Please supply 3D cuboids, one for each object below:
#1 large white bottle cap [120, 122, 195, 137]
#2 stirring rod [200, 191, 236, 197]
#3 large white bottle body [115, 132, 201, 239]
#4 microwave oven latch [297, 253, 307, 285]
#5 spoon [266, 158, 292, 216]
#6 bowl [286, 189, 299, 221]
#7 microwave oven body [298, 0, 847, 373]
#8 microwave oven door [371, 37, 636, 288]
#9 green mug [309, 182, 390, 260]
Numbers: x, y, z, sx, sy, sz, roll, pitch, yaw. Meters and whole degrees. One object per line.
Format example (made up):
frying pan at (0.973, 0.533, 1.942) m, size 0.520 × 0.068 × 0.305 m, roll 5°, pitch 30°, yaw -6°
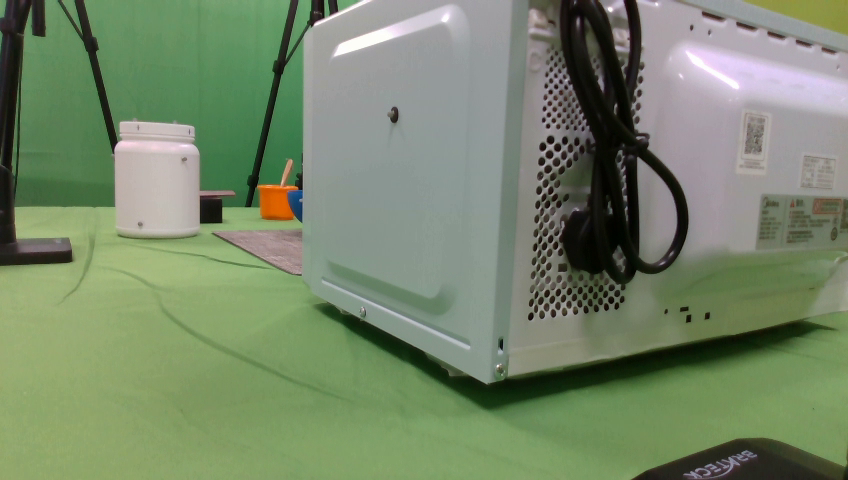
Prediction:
large white bottle cap at (-0.444, -0.183, 1.010) m, size 0.115 × 0.018 × 0.115 m, roll 2°, pitch 7°, yaw 0°
stirring rod at (-0.465, -0.098, 1.283) m, size 0.014 × 0.006 × 0.177 m, roll 41°, pitch 21°, yaw 17°
large white bottle body at (-0.447, -0.100, 1.020) m, size 0.131 × 0.184 × 0.130 m, roll 3°, pitch 7°, yaw 0°
microwave oven latch at (-0.082, 0.027, 0.582) m, size 0.079 × 0.029 × 0.030 m, roll -1°, pitch 7°, yaw -33°
spoon at (-0.334, -0.127, 1.424) m, size 0.041 × 0.193 × 0.022 m, roll 0°, pitch -37°, yaw 7°
bowl at (-0.179, -0.051, 1.115) m, size 0.151 × 0.077 × 0.151 m, roll 3°, pitch 8°, yaw 0°
microwave oven body at (0.151, -0.055, 0.543) m, size 0.444 × 0.260 × 0.324 m, roll -1°, pitch 7°, yaw -33°
microwave oven door at (0.109, -0.080, 0.687) m, size 0.358 × 0.243 × 0.039 m, roll -2°, pitch 9°, yaw -33°
green mug at (-0.102, -0.029, 0.864) m, size 0.126 × 0.105 × 0.092 m, roll -4°, pitch 9°, yaw -40°
